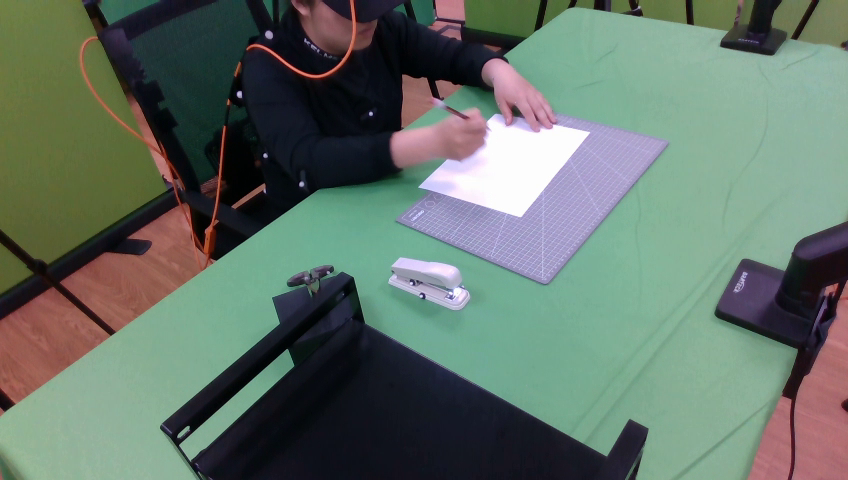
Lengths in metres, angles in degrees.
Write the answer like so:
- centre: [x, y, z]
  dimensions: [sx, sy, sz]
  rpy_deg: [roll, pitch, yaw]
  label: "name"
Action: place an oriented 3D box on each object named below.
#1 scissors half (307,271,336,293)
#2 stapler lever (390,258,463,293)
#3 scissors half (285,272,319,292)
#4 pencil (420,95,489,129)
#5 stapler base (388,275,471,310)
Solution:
- centre: [-0.151, 0.061, 0.872]
  dimensions: [0.040, 0.013, 0.175]
  rpy_deg: [-4, 6, -4]
  label: "scissors half"
- centre: [0.003, 0.046, 0.881]
  dimensions: [0.117, 0.040, 0.027]
  rpy_deg: [17, 43, 29]
  label: "stapler lever"
- centre: [-0.171, 0.063, 0.868]
  dimensions: [0.040, 0.013, 0.174]
  rpy_deg: [-11, 7, -21]
  label: "scissors half"
- centre: [0.056, -0.210, 1.005]
  dimensions: [0.012, 0.012, 0.196]
  rpy_deg: [30, 13, 36]
  label: "pencil"
- centre: [0.007, 0.066, 0.897]
  dimensions: [0.129, 0.024, 0.041]
  rpy_deg: [17, 43, 29]
  label: "stapler base"
